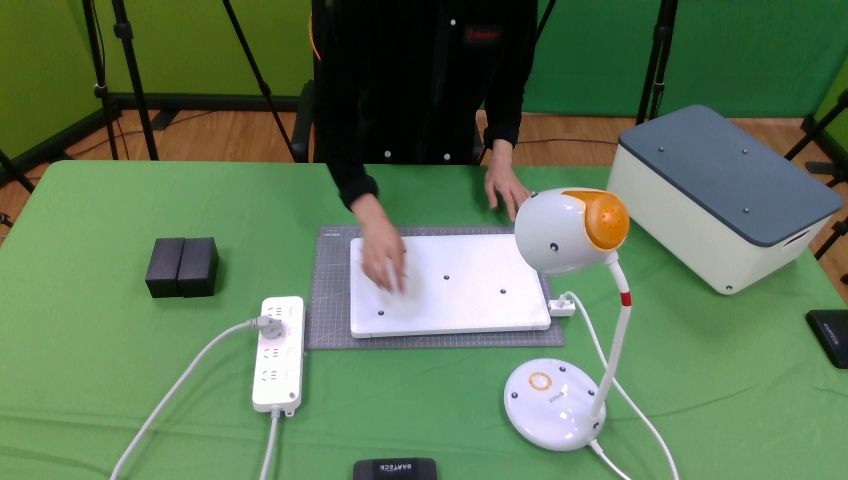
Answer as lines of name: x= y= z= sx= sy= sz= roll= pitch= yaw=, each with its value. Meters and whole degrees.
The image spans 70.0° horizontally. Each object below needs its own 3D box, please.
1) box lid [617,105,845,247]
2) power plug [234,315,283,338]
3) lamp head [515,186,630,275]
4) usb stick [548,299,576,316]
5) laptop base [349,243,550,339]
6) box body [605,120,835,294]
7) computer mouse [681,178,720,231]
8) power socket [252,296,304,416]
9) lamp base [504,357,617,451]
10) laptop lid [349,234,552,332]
box lid: x=0.586 y=-0.138 z=1.176 sx=0.263 sy=0.015 sz=0.369 roll=-22 pitch=51 yaw=-23
power plug: x=-0.269 y=0.143 z=1.000 sx=0.072 sy=0.053 sz=0.035 roll=4 pitch=47 yaw=3
lamp head: x=0.188 y=-0.013 z=0.728 sx=0.112 sy=0.112 sz=0.122 roll=-25 pitch=9 yaw=-25
usb stick: x=0.239 y=0.121 z=1.084 sx=0.059 sy=0.027 sz=0.021 roll=-1 pitch=51 yaw=-1
laptop base: x=0.039 y=0.081 z=1.124 sx=0.355 sy=0.023 sz=0.234 roll=-2 pitch=43 yaw=-6
box body: x=0.582 y=-0.088 z=1.230 sx=0.254 sy=0.161 sz=0.361 roll=-22 pitch=52 yaw=-23
computer mouse: x=0.596 y=-0.078 z=1.290 sx=0.117 sy=0.041 sz=0.062 roll=56 pitch=45 yaw=-7
power socket: x=-0.238 y=0.181 z=0.997 sx=0.072 sy=0.033 sz=0.225 roll=-3 pitch=47 yaw=-5
lamp base: x=0.220 y=0.211 z=0.903 sx=0.160 sy=0.181 sz=0.178 roll=-33 pitch=59 yaw=-30
laptop lid: x=0.040 y=0.071 z=1.118 sx=0.357 sy=0.013 sz=0.240 roll=0 pitch=44 yaw=-5
